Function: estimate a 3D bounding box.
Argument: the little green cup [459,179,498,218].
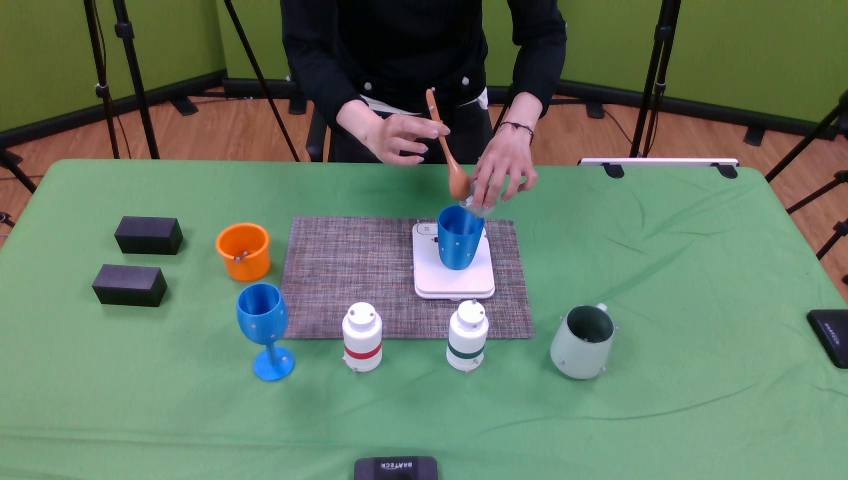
[{"bbox_3d":[0.094,-0.069,1.029,0.039,0.061,0.061,36,42,-21],"label":"little green cup"}]

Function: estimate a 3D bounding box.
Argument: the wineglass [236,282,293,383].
[{"bbox_3d":[-0.243,0.143,0.934,0.074,0.173,0.073,2,46,-2],"label":"wineglass"}]

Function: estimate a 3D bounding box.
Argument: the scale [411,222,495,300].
[{"bbox_3d":[0.052,0.031,1.158,0.149,0.032,0.199,1,46,-4],"label":"scale"}]

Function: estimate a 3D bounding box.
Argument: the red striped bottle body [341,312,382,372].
[{"bbox_3d":[-0.100,0.154,0.972,0.063,0.120,0.062,2,46,-1],"label":"red striped bottle body"}]

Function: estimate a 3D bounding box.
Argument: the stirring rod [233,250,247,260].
[{"bbox_3d":[-0.323,0.026,1.067,0.014,0.006,0.176,-8,4,-13],"label":"stirring rod"}]

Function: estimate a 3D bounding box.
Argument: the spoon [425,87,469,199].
[{"bbox_3d":[0.033,-0.157,1.000,0.041,0.194,0.021,-27,18,-17],"label":"spoon"}]

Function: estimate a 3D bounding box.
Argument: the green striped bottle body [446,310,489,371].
[{"bbox_3d":[0.070,0.155,0.984,0.063,0.120,0.063,2,46,-2],"label":"green striped bottle body"}]

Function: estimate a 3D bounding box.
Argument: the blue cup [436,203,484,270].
[{"bbox_3d":[0.061,-0.001,1.099,0.093,0.101,0.092,2,44,-2],"label":"blue cup"}]

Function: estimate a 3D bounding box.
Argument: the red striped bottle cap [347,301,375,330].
[{"bbox_3d":[-0.097,0.116,0.934,0.044,0.018,0.044,2,49,-2],"label":"red striped bottle cap"}]

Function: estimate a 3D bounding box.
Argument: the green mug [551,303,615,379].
[{"bbox_3d":[0.271,0.157,1.007,0.092,0.105,0.125,27,50,21],"label":"green mug"}]

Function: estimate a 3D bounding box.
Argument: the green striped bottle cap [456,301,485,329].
[{"bbox_3d":[0.073,0.116,0.943,0.044,0.020,0.044,4,46,-4],"label":"green striped bottle cap"}]
